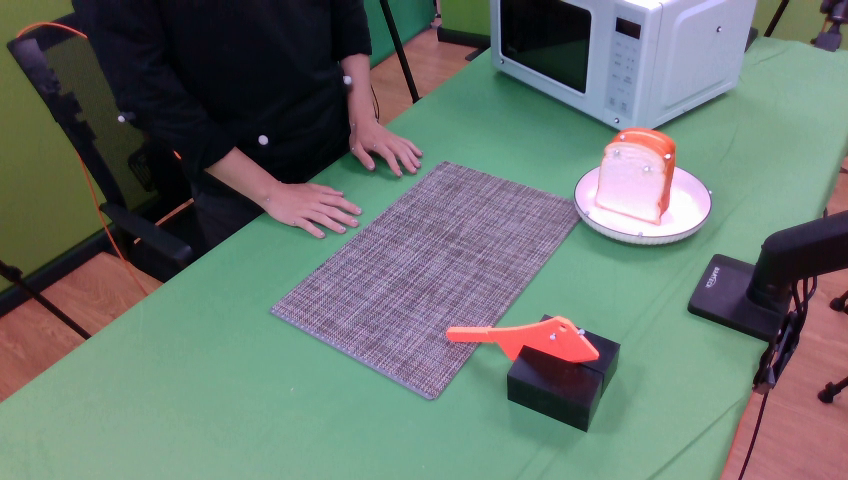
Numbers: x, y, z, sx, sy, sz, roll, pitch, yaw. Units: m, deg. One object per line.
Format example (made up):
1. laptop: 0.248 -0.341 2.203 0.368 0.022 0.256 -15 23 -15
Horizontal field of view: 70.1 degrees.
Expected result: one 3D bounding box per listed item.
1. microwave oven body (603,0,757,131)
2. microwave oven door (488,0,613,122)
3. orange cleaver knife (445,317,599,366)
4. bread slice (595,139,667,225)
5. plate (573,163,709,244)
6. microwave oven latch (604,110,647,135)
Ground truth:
1. microwave oven body: 0.396 -0.448 1.248 0.327 0.261 0.437 -27 44 -21
2. microwave oven door: 0.250 -0.412 1.219 0.039 0.245 0.352 -27 44 -21
3. orange cleaver knife: 0.115 0.129 0.751 0.210 0.077 0.012 -11 30 45
4. bread slice: 0.321 -0.093 0.936 0.106 0.135 0.018 17 44 31
5. plate: 0.347 -0.059 0.979 0.207 0.039 0.206 -4 41 4
6. microwave oven latch: 0.378 -0.225 1.139 0.030 0.029 0.078 -27 44 -20
